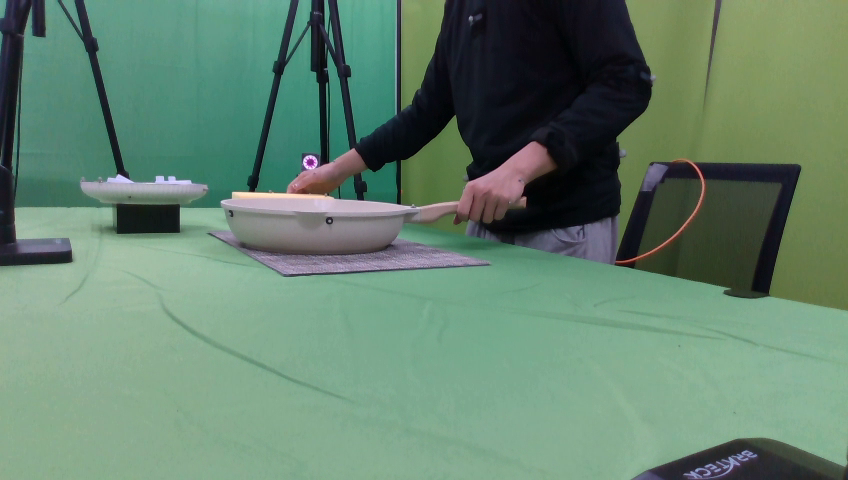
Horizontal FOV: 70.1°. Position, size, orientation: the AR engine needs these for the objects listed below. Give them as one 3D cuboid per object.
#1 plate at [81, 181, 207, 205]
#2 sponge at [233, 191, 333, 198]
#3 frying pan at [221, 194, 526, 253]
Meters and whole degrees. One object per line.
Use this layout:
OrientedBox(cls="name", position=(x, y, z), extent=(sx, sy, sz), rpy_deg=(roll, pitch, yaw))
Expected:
OrientedBox(cls="plate", position=(-0.504, -0.086, 1.100), extent=(0.208, 0.039, 0.207), rpy_deg=(2, 6, 0))
OrientedBox(cls="sponge", position=(-0.318, -0.074, 1.356), extent=(0.208, 0.061, 0.117), rpy_deg=(0, 8, -24))
OrientedBox(cls="frying pan", position=(-0.070, -0.043, 0.984), extent=(0.489, 0.102, 0.306), rpy_deg=(-7, 9, -5))
